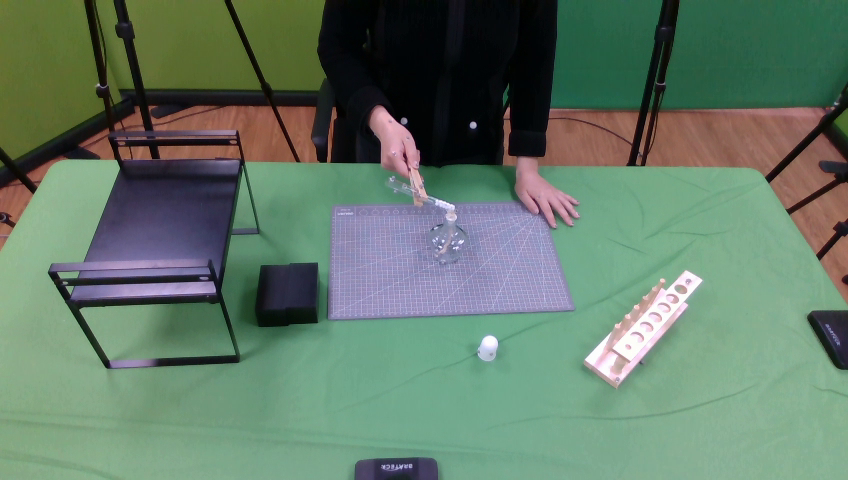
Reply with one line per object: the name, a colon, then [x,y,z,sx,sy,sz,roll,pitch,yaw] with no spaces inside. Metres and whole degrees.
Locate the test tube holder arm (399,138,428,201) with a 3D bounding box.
test tube holder arm: [-0.021,-0.131,1.100,0.015,0.013,0.177,19,35,-32]

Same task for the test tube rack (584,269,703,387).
test tube rack: [0.380,0.139,1.045,0.066,0.085,0.242,37,54,28]

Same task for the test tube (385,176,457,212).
test tube: [-0.003,-0.079,1.060,0.151,0.017,0.017,20,38,-31]

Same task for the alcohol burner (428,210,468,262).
alcohol burner: [0.048,-0.015,1.146,0.078,0.119,0.077,3,48,-3]

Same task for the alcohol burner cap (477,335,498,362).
alcohol burner cap: [0.108,0.179,1.017,0.034,0.048,0.033,3,51,-4]

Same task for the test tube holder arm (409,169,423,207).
test tube holder arm: [-0.015,-0.095,1.074,0.015,0.010,0.087,19,45,-32]
